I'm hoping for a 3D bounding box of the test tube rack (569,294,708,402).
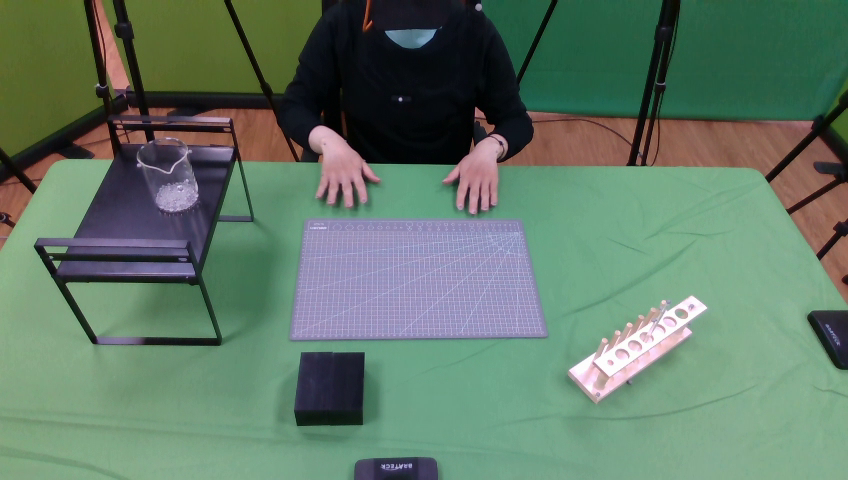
[{"bbox_3d":[0.360,0.167,1.015,0.242,0.085,0.066,-25,53,-25],"label":"test tube rack"}]

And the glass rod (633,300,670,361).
[{"bbox_3d":[0.351,0.144,0.944,0.008,0.201,0.008,-1,55,1],"label":"glass rod"}]

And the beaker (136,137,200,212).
[{"bbox_3d":[-0.399,-0.098,0.957,0.074,0.101,0.083,-19,51,-20],"label":"beaker"}]
